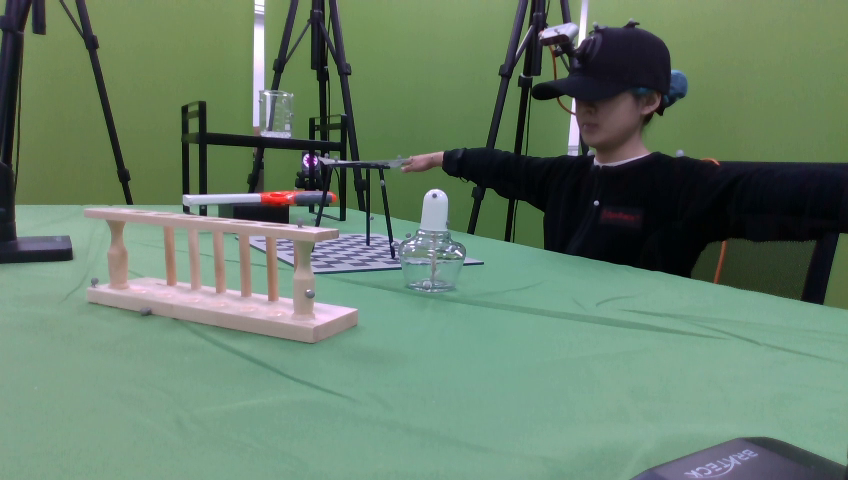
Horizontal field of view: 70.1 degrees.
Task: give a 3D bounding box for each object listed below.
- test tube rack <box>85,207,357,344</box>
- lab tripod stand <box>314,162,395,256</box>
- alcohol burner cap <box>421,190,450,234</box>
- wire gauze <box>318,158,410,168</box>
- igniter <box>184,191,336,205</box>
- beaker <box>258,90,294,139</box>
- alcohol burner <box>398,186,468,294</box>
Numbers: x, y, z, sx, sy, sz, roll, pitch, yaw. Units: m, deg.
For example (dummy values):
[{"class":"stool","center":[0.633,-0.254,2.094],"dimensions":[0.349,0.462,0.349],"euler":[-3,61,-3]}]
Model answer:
[{"class":"test tube rack","center":[-0.177,0.022,0.518],"dimensions":[0.241,0.085,0.067],"euler":[6,7,23]},{"class":"lab tripod stand","center":[-0.098,-0.048,0.897],"dimensions":[0.148,0.131,0.148],"euler":[1,6,0]},{"class":"alcohol burner cap","center":[0.014,-0.031,0.665],"dimensions":[0.034,0.048,0.034],"euler":[5,9,0]},{"class":"wire gauze","center":[-0.090,-0.114,0.888],"dimensions":[0.122,0.011,0.124],"euler":[0,6,-15]},{"class":"igniter","center":[-0.298,-0.078,1.126],"dimensions":[0.278,0.025,0.057],"euler":[-4,13,-32]},{"class":"beaker","center":[-0.324,-0.274,1.331],"dimensions":[0.083,0.100,0.074],"euler":[7,9,24]},{"class":"alcohol burner","center":[0.011,-0.001,0.669],"dimensions":[0.078,0.119,0.078],"euler":[5,8,0]}]
